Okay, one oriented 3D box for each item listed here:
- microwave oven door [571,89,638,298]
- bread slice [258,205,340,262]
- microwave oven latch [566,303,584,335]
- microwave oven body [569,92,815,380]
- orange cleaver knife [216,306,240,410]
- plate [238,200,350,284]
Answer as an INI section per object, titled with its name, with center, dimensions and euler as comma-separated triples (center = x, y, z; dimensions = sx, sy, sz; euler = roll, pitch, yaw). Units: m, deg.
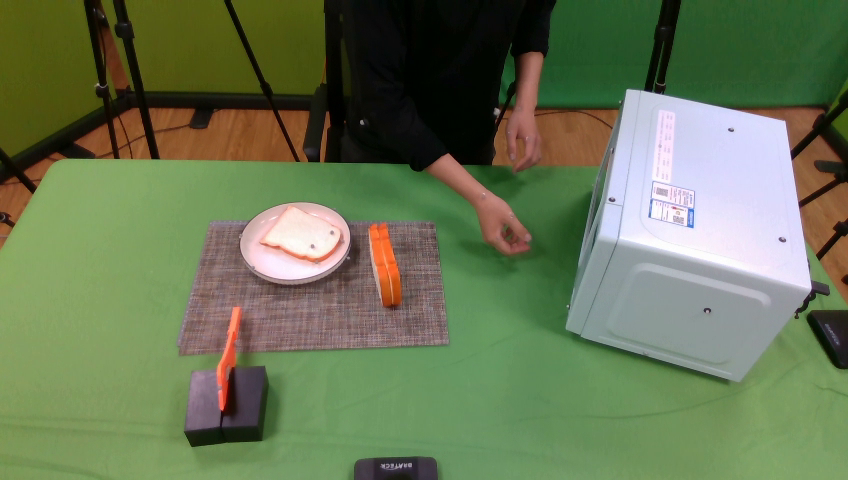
[microwave oven door]
center = 0.343, -0.091, 1.133
dimensions = 0.039, 0.245, 0.354
euler = 15, 47, 10
[bread slice]
center = -0.232, -0.009, 1.168
dimensions = 0.134, 0.018, 0.106
euler = 19, 51, 10
[microwave oven latch]
center = 0.268, 0.126, 1.059
dimensions = 0.030, 0.029, 0.079
euler = 16, 46, 12
[microwave oven body]
center = 0.468, -0.022, 1.082
dimensions = 0.325, 0.261, 0.440
euler = 15, 46, 11
[orange cleaver knife]
center = -0.307, 0.180, 0.957
dimensions = 0.012, 0.077, 0.210
euler = -2, 25, -8
[plate]
center = -0.245, 0.007, 1.156
dimensions = 0.208, 0.039, 0.206
euler = 2, 46, -2
